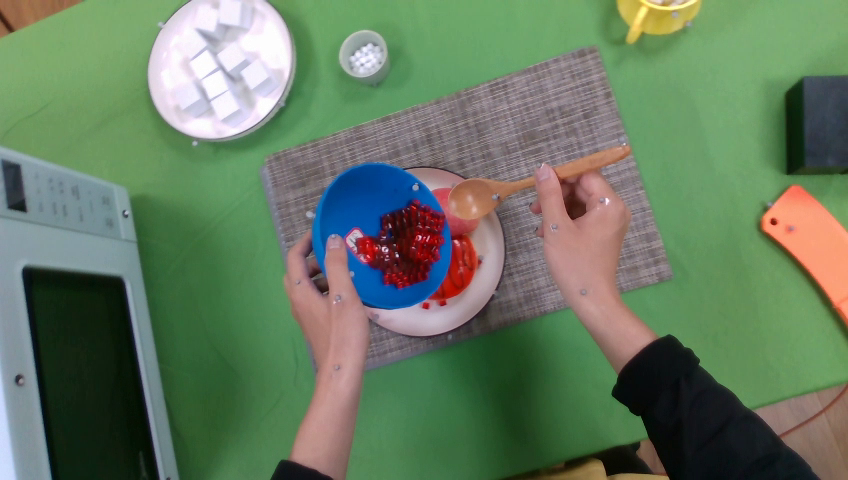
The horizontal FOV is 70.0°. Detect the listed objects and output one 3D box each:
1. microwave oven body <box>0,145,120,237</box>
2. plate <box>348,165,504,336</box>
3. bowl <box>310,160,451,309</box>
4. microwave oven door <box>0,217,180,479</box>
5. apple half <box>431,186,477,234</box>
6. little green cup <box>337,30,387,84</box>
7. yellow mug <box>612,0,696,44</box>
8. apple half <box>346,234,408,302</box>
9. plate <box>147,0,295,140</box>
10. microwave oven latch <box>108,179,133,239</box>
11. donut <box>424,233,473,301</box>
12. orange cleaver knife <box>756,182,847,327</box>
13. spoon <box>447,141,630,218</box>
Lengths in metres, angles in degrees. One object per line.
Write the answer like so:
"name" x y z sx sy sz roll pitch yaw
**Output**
"microwave oven body" -0.526 0.158 0.702 0.326 0.261 0.440 -15 82 7
"plate" -0.005 0.013 0.741 0.209 0.038 0.208 -1 84 10
"bowl" -0.055 0.002 0.622 0.152 0.076 0.150 10 71 -31
"microwave oven door" -0.377 0.160 0.670 0.039 0.245 0.354 -16 81 8
"apple half" 0.027 -0.042 0.714 0.081 0.033 0.080 0 43 0
"little green cup" -0.078 -0.234 0.783 0.061 0.039 0.061 -1 83 10
"yellow mug" 0.269 -0.291 0.715 0.099 0.064 0.131 30 91 12
"apple half" -0.063 0.035 0.717 0.074 0.053 0.080 -22 77 47
"plate" -0.269 -0.232 0.816 0.207 0.039 0.207 -1 84 10
"microwave oven latch" -0.410 -0.039 0.801 0.030 0.029 0.079 -14 82 8
"donut" 0.010 0.024 0.725 0.099 0.048 0.098 -1 82 8
"orange cleaver knife" 0.455 0.031 0.672 0.077 0.012 0.210 -32 78 0
"spoon" 0.097 -0.055 0.555 0.193 0.021 0.042 -14 99 44
